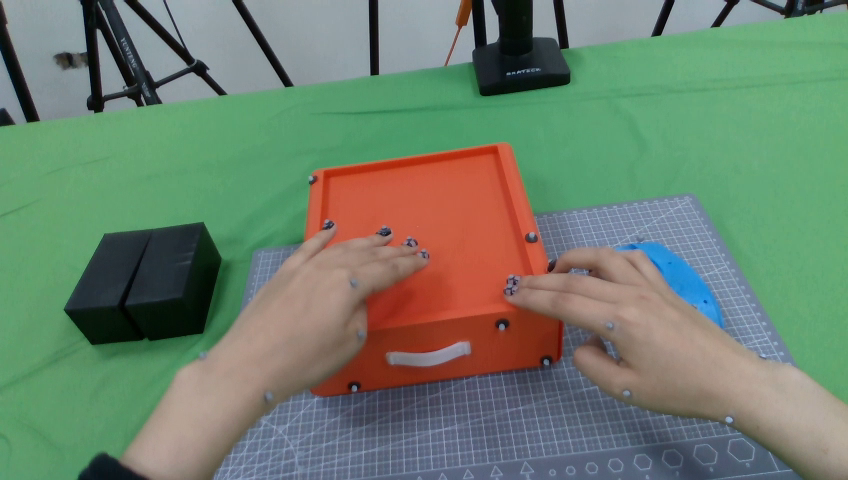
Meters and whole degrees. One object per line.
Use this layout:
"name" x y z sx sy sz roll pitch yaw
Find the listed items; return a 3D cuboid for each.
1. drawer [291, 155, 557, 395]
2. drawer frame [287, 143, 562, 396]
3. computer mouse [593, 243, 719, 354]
"drawer" -0.004 0.020 0.528 0.194 0.074 0.209 -9 42 2
"drawer frame" -0.004 0.017 0.528 0.202 0.083 0.211 -9 42 1
"computer mouse" 0.189 0.041 0.503 0.063 0.041 0.116 -14 39 -2
